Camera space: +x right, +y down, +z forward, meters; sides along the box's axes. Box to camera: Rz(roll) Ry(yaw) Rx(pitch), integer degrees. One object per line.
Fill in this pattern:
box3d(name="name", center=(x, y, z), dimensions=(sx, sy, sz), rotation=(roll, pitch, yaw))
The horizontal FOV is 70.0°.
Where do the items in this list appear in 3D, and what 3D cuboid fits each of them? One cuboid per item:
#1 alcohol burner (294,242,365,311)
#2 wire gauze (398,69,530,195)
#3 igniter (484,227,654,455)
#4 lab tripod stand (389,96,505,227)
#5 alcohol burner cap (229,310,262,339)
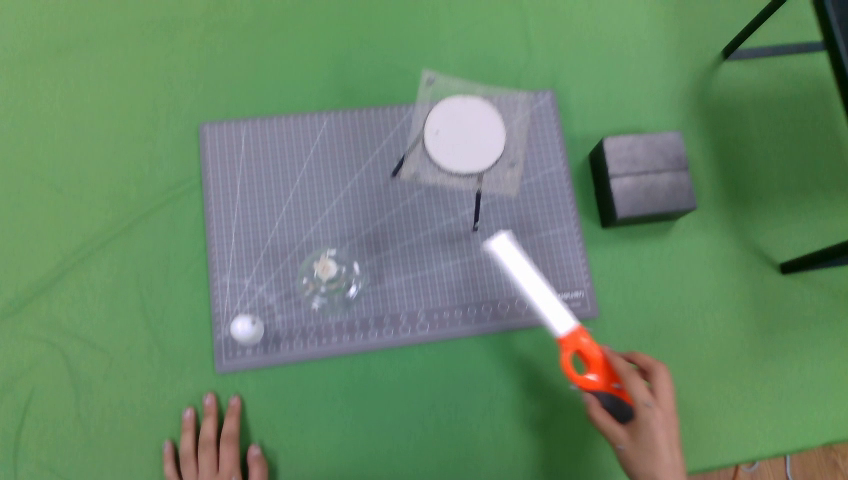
box3d(name="alcohol burner", center=(-0.104, 0.037, 0.657), dimensions=(0.078, 0.119, 0.077), rotation=(1, 78, -5))
box3d(name="wire gauze", center=(0.044, -0.112, 0.625), dimensions=(0.121, 0.011, 0.124), rotation=(11, 75, -3))
box3d(name="igniter", center=(0.157, 0.106, 0.653), dimensions=(0.057, 0.025, 0.275), rotation=(-33, 83, -19))
box3d(name="lab tripod stand", center=(0.035, -0.098, 0.691), dimensions=(0.148, 0.132, 0.147), rotation=(1, 75, -4))
box3d(name="alcohol burner cap", center=(-0.200, 0.092, 0.671), dimensions=(0.034, 0.048, 0.033), rotation=(1, 76, -6))
